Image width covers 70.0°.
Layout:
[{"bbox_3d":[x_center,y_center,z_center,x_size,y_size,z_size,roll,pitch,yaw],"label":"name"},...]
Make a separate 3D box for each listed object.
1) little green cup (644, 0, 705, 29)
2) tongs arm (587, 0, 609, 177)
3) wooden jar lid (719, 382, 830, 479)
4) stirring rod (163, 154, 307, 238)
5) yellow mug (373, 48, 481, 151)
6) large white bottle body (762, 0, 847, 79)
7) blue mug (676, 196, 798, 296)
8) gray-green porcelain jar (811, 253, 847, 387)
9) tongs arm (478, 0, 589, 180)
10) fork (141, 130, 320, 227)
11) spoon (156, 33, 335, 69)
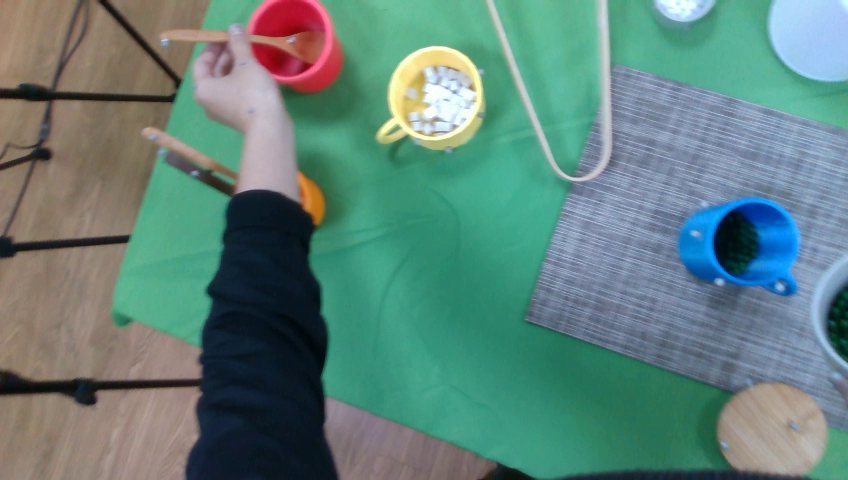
[{"bbox_3d":[0.267,-0.259,0.651,0.061,0.039,0.061,0,91,8],"label":"little green cup"},{"bbox_3d":[0.172,-0.262,0.648,0.028,0.027,0.388,-7,96,0],"label":"tongs arm"},{"bbox_3d":[0.369,0.203,0.643,0.108,0.021,0.108,0,93,10],"label":"wooden jar lid"},{"bbox_3d":[-0.201,-0.045,0.661,0.006,0.178,0.014,11,73,51],"label":"stirring rod"},{"bbox_3d":[-0.002,-0.145,0.674,0.131,0.064,0.100,-34,86,8],"label":"yellow mug"},{"bbox_3d":[0.412,-0.236,0.557,0.130,0.185,0.130,0,89,8],"label":"large white bottle body"},{"bbox_3d":[0.320,0.014,0.605,0.116,0.106,0.082,44,95,6],"label":"blue mug"},{"bbox_3d":[0.360,0.070,0.459,0.105,0.128,0.105,-16,61,32],"label":"gray-green porcelain jar"},{"bbox_3d":[0.091,-0.240,0.656,0.051,0.026,0.385,-20,94,4],"label":"tongs arm"},{"bbox_3d":[-0.204,-0.064,0.659,0.209,0.018,0.028,29,93,-36],"label":"fork"},{"bbox_3d":[-0.188,-0.213,0.661,0.195,0.021,0.041,-6,88,-36],"label":"spoon"}]
